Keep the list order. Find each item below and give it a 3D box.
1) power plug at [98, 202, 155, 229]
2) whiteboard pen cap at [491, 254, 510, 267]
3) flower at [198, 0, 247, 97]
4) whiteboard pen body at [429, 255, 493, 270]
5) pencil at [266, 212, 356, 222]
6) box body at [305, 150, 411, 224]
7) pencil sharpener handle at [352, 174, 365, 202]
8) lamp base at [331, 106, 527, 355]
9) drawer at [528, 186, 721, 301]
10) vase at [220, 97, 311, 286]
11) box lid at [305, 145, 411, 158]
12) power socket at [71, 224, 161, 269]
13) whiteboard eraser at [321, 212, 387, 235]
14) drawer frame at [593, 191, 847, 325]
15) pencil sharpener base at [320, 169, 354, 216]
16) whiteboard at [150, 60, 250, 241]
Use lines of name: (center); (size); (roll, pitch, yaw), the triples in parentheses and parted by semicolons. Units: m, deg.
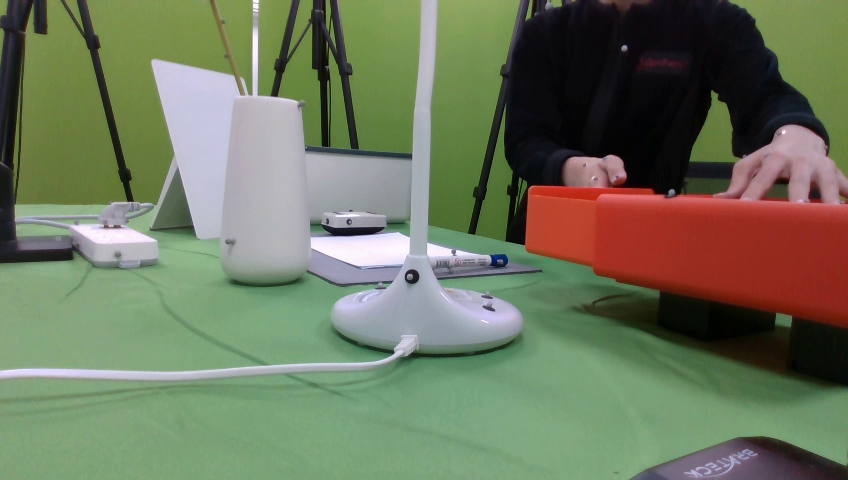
power plug: (-0.416, -0.027, 0.848); (0.073, 0.052, 0.035); (0, 8, -28)
whiteboard pen cap: (0.098, 0.028, 0.815); (0.033, 0.018, 0.018); (-1, 8, -39)
flower: (-0.187, -0.133, 0.648); (0.038, 0.362, 0.044); (-1, 21, 43)
whiteboard pen body: (0.053, 0.028, 0.777); (0.141, 0.017, 0.017); (-1, 8, -39)
pencil: (-0.244, -0.049, 1.319); (0.195, 0.012, 0.012); (4, 7, -12)
box body: (-0.230, -0.126, 1.371); (0.366, 0.160, 0.253); (-2, 8, -33)
pencil sharpener handle: (-0.156, -0.125, 1.450); (0.031, 0.068, 0.036); (2, 19, -11)
lamp base: (0.006, -0.012, 0.478); (0.161, 0.180, 0.179); (2, 10, 2)
drawer: (0.241, -0.005, 0.582); (0.195, 0.073, 0.210); (-1, 11, -32)
vase: (-0.172, -0.052, 0.662); (0.098, 0.200, 0.098); (3, 8, 0)
box lid: (-0.228, -0.200, 1.361); (0.373, 0.015, 0.262); (-1, 8, -33)
power socket: (-0.408, 0.004, 0.793); (0.072, 0.032, 0.225); (-2, 8, -38)
whiteboard eraser: (-0.128, -0.031, 1.108); (0.113, 0.042, 0.055); (-3, 7, -38)
drawer frame: (0.289, 0.003, 0.503); (0.203, 0.082, 0.212); (-1, 7, -33)
pencil sharpener base: (-0.207, -0.113, 1.438); (0.077, 0.107, 0.061); (2, 6, -11)
whiteboard: (-0.408, -0.139, 1.093); (0.143, 0.305, 0.218); (-15, -1, 26)
